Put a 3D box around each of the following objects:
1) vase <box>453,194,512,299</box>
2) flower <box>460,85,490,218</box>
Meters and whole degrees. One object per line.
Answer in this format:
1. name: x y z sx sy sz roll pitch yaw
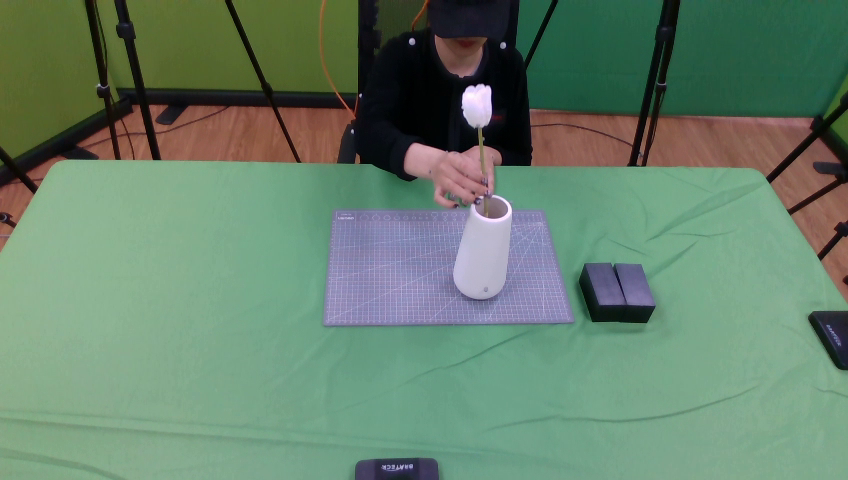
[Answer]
1. vase: 0.107 0.016 1.065 0.098 0.201 0.097 3 47 -3
2. flower: 0.098 -0.076 0.975 0.044 0.364 0.038 -30 42 -22
